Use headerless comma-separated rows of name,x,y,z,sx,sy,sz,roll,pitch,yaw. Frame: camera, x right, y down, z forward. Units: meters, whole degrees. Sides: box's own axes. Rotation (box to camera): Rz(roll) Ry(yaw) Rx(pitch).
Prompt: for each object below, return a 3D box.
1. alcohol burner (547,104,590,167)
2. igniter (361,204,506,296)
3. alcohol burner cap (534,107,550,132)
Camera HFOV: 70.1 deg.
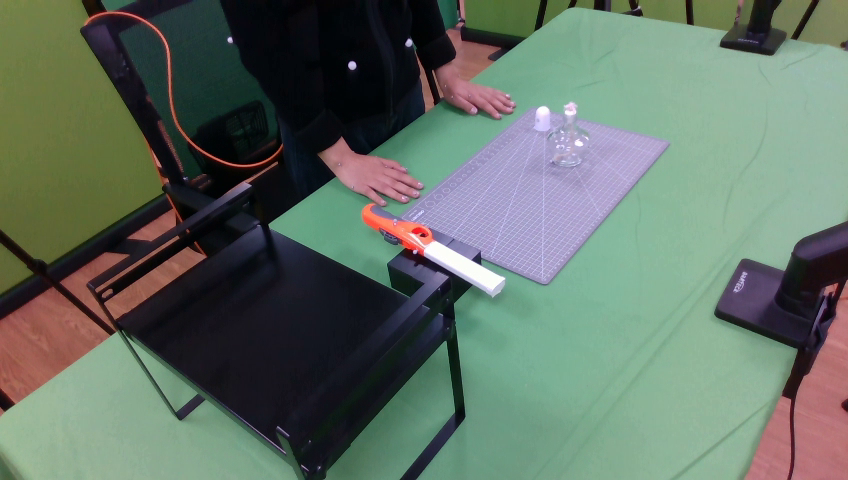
alcohol burner,0.260,-0.192,1.087,0.078,0.119,0.077,-5,42,5
igniter,0.003,0.008,0.889,0.274,0.025,0.057,29,49,33
alcohol burner cap,0.236,-0.243,1.206,0.034,0.048,0.033,-4,39,4
